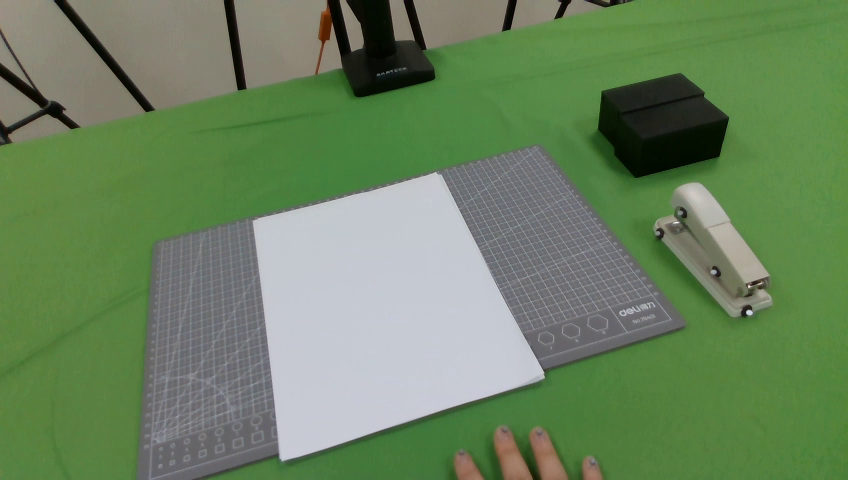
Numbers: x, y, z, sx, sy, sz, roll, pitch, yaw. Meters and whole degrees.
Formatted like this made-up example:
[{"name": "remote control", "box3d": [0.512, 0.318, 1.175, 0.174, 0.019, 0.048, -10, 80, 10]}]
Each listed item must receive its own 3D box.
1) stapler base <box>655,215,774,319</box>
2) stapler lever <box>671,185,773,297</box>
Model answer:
[{"name": "stapler base", "box3d": [0.260, 0.014, 0.549, 0.041, 0.025, 0.129, -17, 45, -7]}, {"name": "stapler lever", "box3d": [0.258, -0.003, 0.530, 0.027, 0.040, 0.116, -17, 45, -7]}]
